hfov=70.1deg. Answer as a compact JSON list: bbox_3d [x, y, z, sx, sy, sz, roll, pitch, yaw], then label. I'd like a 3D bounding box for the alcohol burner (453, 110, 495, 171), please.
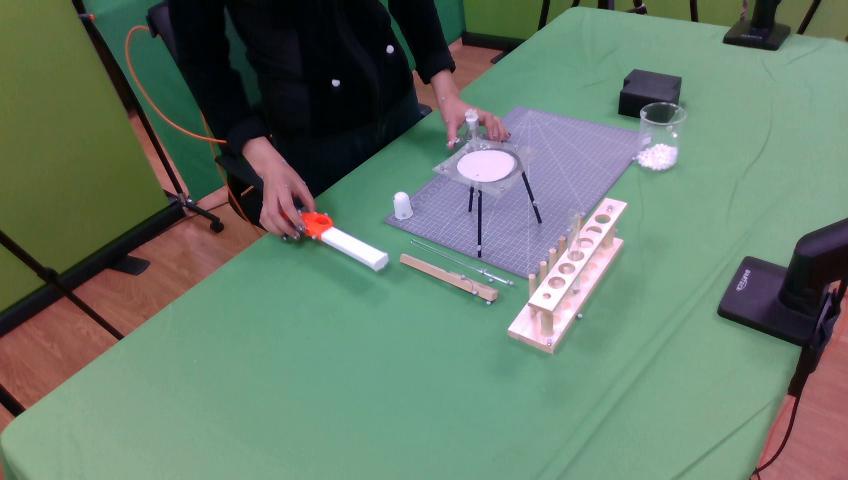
[{"bbox_3d":[0.091,-0.187,1.112,0.078,0.119,0.077,-4,41,4],"label":"alcohol burner"}]

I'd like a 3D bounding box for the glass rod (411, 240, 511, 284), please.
[{"bbox_3d":[0.053,0.033,0.946,0.198,0.008,0.008,22,50,36],"label":"glass rod"}]

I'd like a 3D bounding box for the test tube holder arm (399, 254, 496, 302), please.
[{"bbox_3d":[0.032,0.055,0.914,0.177,0.015,0.013,21,16,32],"label":"test tube holder arm"}]

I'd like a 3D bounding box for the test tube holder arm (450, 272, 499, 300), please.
[{"bbox_3d":[0.071,0.068,0.895,0.087,0.015,0.010,21,16,32],"label":"test tube holder arm"}]

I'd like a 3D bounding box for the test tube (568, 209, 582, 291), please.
[{"bbox_3d":[0.200,0.017,0.799,0.017,0.151,0.017,-8,45,8],"label":"test tube"}]

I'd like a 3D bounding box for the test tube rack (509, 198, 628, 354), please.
[{"bbox_3d":[0.206,0.039,0.850,0.066,0.085,0.243,20,48,31],"label":"test tube rack"}]

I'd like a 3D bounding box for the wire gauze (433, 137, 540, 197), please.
[{"bbox_3d":[0.094,-0.116,0.907,0.124,0.011,0.122,21,47,30],"label":"wire gauze"}]

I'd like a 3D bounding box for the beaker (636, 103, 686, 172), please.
[{"bbox_3d":[0.413,-0.177,1.055,0.084,0.101,0.073,-28,44,-21],"label":"beaker"}]

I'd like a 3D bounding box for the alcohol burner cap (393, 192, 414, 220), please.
[{"bbox_3d":[-0.038,-0.061,1.043,0.034,0.048,0.033,-6,41,5],"label":"alcohol burner cap"}]

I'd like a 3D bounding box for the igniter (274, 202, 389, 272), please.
[{"bbox_3d":[-0.161,-0.011,0.990,0.274,0.025,0.057,25,46,36],"label":"igniter"}]

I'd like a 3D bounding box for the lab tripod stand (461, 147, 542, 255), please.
[{"bbox_3d":[0.114,-0.069,0.953,0.148,0.132,0.147,-5,38,4],"label":"lab tripod stand"}]
